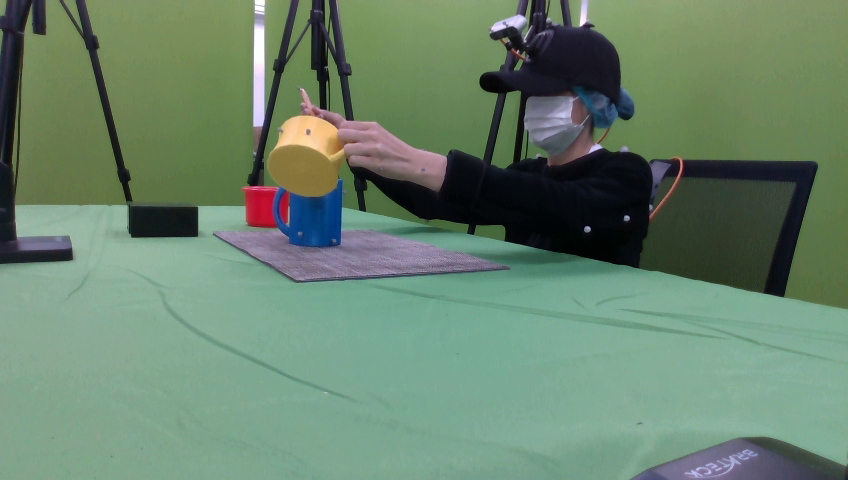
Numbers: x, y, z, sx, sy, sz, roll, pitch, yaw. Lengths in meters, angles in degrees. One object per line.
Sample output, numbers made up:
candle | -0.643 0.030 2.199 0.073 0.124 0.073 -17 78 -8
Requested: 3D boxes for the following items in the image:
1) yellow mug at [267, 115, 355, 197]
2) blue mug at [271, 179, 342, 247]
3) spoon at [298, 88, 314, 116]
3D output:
yellow mug | -0.153 -0.123 0.857 0.130 0.100 0.064 -14 44 25
blue mug | -0.190 -0.047 0.963 0.116 0.106 0.082 4 7 13
spoon | -0.195 -0.199 1.060 0.021 0.193 0.042 -34 -34 29
